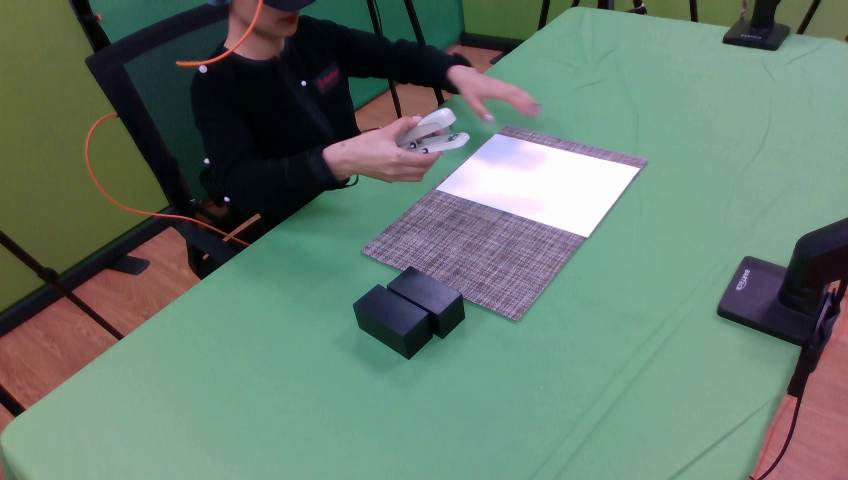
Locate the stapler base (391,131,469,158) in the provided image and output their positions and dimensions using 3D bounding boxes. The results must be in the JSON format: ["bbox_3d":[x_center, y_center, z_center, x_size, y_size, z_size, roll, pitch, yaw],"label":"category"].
[{"bbox_3d":[0.006,-0.154,0.935,0.130,0.024,0.041,-7,27,33],"label":"stapler base"}]

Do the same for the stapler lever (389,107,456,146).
[{"bbox_3d":[-0.005,-0.174,0.925,0.117,0.040,0.027,-6,28,33],"label":"stapler lever"}]
